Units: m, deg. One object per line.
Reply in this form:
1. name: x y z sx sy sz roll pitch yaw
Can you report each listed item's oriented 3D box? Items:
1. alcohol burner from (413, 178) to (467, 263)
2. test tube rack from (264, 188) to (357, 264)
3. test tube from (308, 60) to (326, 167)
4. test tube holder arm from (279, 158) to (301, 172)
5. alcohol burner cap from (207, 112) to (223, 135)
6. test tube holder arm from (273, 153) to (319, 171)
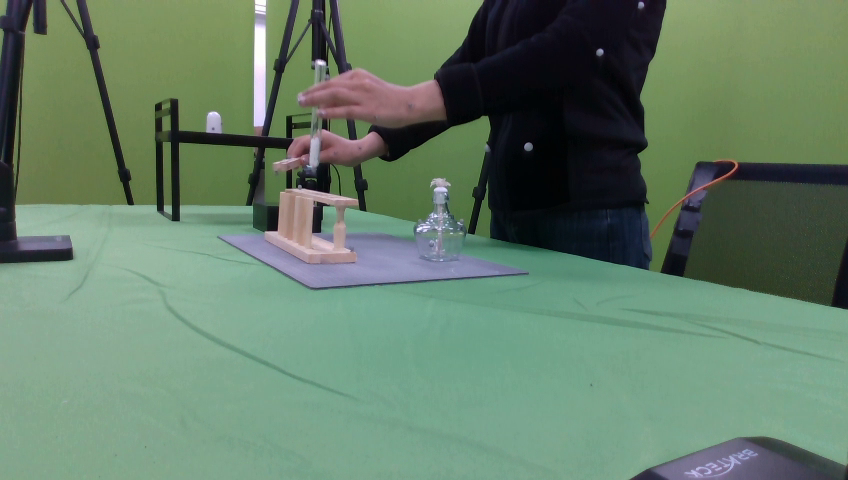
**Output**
1. alcohol burner: 0.022 -0.029 0.864 0.078 0.119 0.078 1 7 0
2. test tube rack: -0.175 -0.027 0.890 0.067 0.085 0.241 -1 8 -28
3. test tube: -0.152 -0.178 0.860 0.017 0.150 0.017 5 5 0
4. test tube holder arm: -0.231 -0.131 1.049 0.010 0.015 0.088 8 16 5
5. alcohol burner cap: -0.440 -0.245 1.271 0.034 0.048 0.034 1 7 0
6. test tube holder arm: -0.228 -0.143 1.092 0.013 0.015 0.178 10 16 10
